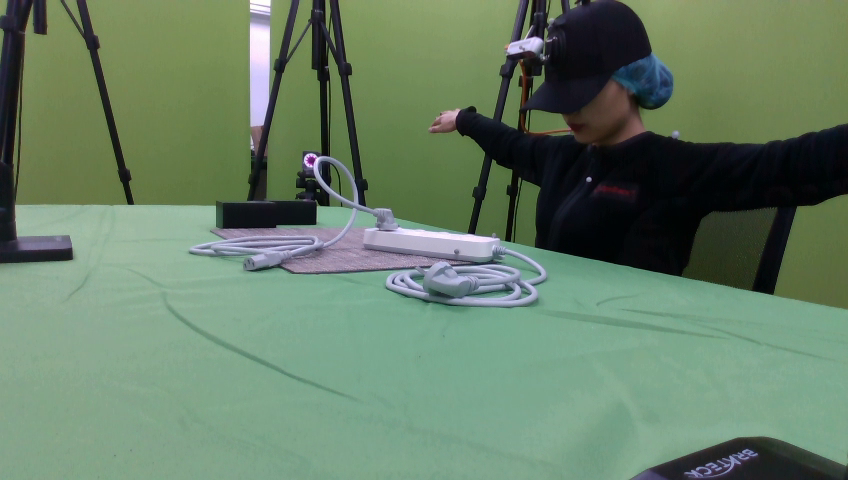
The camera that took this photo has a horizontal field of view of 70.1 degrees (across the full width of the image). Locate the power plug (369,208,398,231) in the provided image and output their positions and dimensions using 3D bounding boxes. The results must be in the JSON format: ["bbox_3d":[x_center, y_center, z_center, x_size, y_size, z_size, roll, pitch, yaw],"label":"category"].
[{"bbox_3d":[-0.069,-0.023,0.915,0.035,0.052,0.073,9,9,39],"label":"power plug"}]

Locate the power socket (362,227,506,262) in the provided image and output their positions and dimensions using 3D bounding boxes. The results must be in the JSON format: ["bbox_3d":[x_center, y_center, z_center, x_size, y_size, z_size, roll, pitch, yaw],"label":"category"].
[{"bbox_3d":[0.009,0.004,0.909,0.226,0.032,0.072,7,9,28],"label":"power socket"}]
